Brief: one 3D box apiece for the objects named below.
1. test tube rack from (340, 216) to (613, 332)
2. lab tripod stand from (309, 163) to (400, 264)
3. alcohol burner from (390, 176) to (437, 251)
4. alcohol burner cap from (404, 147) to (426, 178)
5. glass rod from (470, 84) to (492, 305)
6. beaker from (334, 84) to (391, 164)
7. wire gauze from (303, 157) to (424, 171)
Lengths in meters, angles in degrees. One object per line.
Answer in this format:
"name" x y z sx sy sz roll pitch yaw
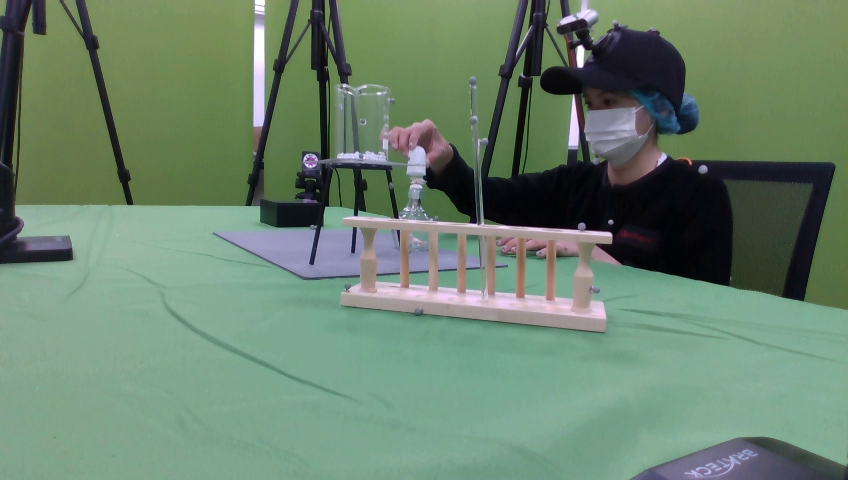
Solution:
"test tube rack" 0.047 0.026 0.568 0.242 0.085 0.067 4 8 13
"lab tripod stand" -0.091 -0.037 0.813 0.148 0.131 0.148 1 6 0
"alcohol burner" -0.016 -0.042 0.955 0.078 0.119 0.078 4 6 0
"alcohol burner cap" -0.013 -0.123 0.953 0.034 0.048 0.034 7 -1 0
"glass rod" 0.051 -0.036 0.535 0.008 0.199 0.008 -5 10 1
"beaker" -0.082 -0.149 0.791 0.074 0.100 0.084 2 5 4
"wire gauze" -0.082 -0.101 0.799 0.126 0.011 0.121 1 7 -30
